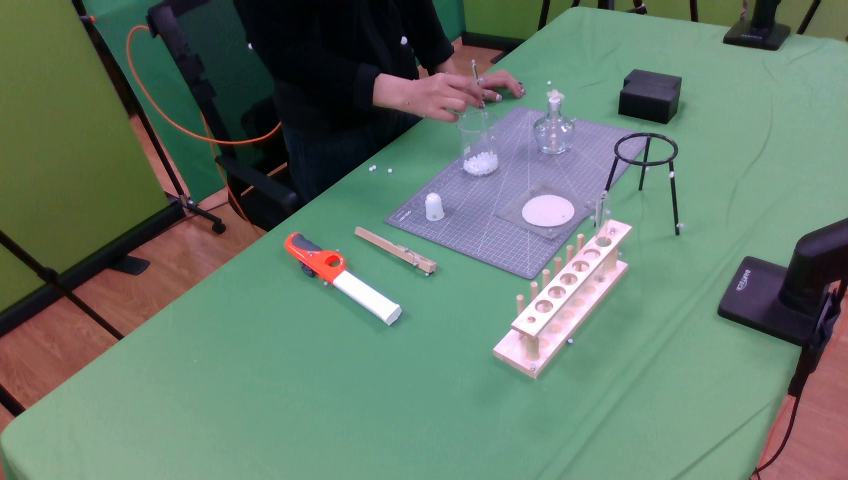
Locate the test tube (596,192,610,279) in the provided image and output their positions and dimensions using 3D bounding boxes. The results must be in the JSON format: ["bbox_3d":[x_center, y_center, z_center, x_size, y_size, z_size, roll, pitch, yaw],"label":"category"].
[{"bbox_3d":[0.240,-0.002,0.814,0.017,0.151,0.017,-7,42,7],"label":"test tube"}]

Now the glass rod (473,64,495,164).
[{"bbox_3d":[0.107,-0.218,1.066,0.008,0.201,0.008,-10,40,9],"label":"glass rod"}]

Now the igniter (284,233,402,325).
[{"bbox_3d":[-0.136,0.054,0.942,0.274,0.025,0.057,30,63,37],"label":"igniter"}]

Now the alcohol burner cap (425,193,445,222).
[{"bbox_3d":[0.017,-0.058,1.030,0.034,0.048,0.033,-5,40,5],"label":"alcohol burner cap"}]

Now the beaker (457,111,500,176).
[{"bbox_3d":[0.104,-0.176,1.108,0.073,0.101,0.084,16,46,27],"label":"beaker"}]

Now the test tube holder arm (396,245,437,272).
[{"bbox_3d":[-0.016,0.029,0.957,0.087,0.015,0.010,25,16,35],"label":"test tube holder arm"}]

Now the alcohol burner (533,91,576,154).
[{"bbox_3d":[0.243,-0.222,1.124,0.078,0.119,0.077,-4,39,4],"label":"alcohol burner"}]

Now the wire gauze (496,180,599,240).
[{"bbox_3d":[0.206,-0.050,1.012,0.125,0.011,0.120,-34,45,-26],"label":"wire gauze"}]

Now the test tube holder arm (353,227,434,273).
[{"bbox_3d":[-0.053,0.014,0.978,0.177,0.015,0.013,25,16,34],"label":"test tube holder arm"}]

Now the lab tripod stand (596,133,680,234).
[{"bbox_3d":[0.338,-0.091,0.940,0.148,0.132,0.147,-7,39,6],"label":"lab tripod stand"}]

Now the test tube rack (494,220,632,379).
[{"bbox_3d":[0.191,0.068,0.818,0.066,0.085,0.243,25,51,35],"label":"test tube rack"}]
